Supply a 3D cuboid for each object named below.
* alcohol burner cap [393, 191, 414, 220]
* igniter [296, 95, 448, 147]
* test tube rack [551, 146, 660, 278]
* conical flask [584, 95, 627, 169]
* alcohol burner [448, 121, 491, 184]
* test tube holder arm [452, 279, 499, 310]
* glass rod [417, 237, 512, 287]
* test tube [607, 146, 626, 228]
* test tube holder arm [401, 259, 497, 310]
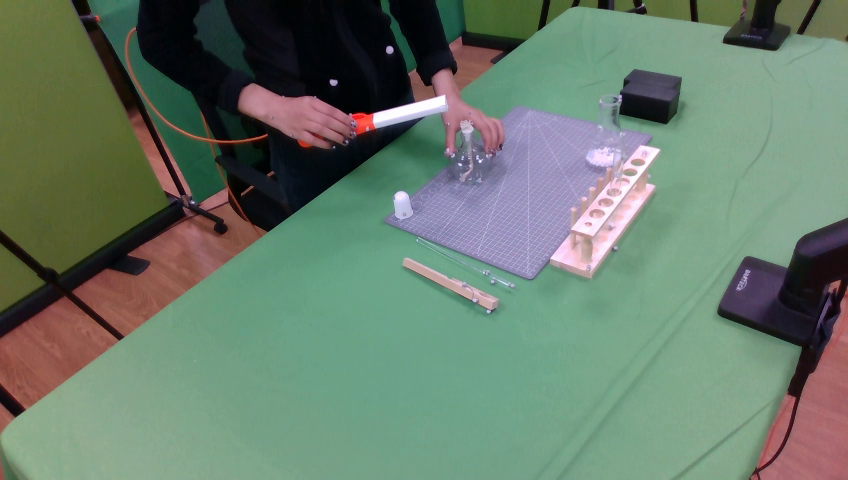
[{"bbox_3d":[-0.037,-0.062,1.045,0.034,0.048,0.033,-5,40,5],"label":"alcohol burner cap"},{"bbox_3d":[-0.094,-0.201,1.031,0.276,0.025,0.057,-11,45,13],"label":"igniter"},{"bbox_3d":[0.286,-0.053,0.943,0.066,0.085,0.243,21,49,32],"label":"test tube rack"},{"bbox_3d":[0.323,-0.192,1.066,0.075,0.122,0.075,-6,40,5],"label":"conical flask"},{"bbox_3d":[0.081,-0.160,1.083,0.078,0.119,0.077,-4,40,4],"label":"alcohol burner"},{"bbox_3d":[0.071,0.078,0.883,0.087,0.015,0.010,23,16,34],"label":"test tube holder arm"},{"bbox_3d":[0.059,0.032,0.945,0.198,0.008,0.008,26,52,38],"label":"glass rod"},{"bbox_3d":[0.283,-0.074,0.892,0.017,0.151,0.017,-5,44,6],"label":"test tube"},{"bbox_3d":[0.034,0.064,0.903,0.177,0.015,0.013,23,15,33],"label":"test tube holder arm"}]
